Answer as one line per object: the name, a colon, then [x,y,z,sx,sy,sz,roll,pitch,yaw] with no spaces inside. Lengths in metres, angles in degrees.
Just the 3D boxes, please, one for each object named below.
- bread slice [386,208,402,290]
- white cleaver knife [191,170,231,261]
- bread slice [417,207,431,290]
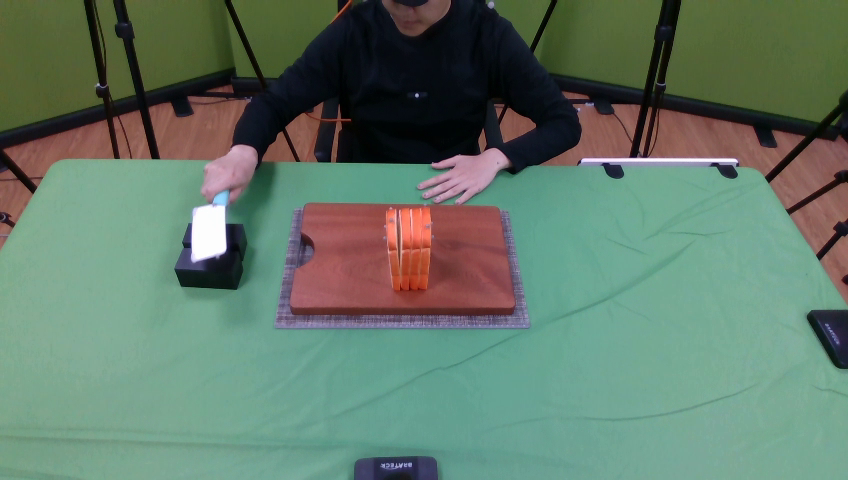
bread slice: [-0.054,0.009,1.069,0.019,0.132,0.104,-5,46,0]
white cleaver knife: [-0.391,-0.054,1.111,0.066,0.021,0.284,-11,36,-9]
bread slice: [0.000,0.009,1.071,0.018,0.135,0.106,0,49,-4]
